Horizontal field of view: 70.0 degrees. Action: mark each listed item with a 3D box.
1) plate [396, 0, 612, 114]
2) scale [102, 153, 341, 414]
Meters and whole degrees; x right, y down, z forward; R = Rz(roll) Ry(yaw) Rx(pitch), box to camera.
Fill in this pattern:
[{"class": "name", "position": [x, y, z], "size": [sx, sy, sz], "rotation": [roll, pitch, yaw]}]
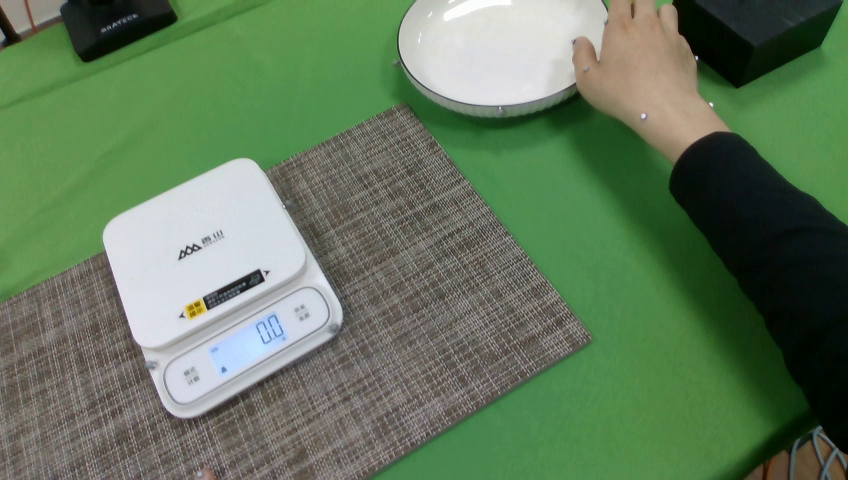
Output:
[{"class": "plate", "position": [0.077, -0.199, 0.601], "size": [0.207, 0.039, 0.205], "rotation": [-4, 58, 6]}, {"class": "scale", "position": [-0.171, 0.025, 0.500], "size": [0.149, 0.032, 0.199], "rotation": [-30, 60, -10]}]
